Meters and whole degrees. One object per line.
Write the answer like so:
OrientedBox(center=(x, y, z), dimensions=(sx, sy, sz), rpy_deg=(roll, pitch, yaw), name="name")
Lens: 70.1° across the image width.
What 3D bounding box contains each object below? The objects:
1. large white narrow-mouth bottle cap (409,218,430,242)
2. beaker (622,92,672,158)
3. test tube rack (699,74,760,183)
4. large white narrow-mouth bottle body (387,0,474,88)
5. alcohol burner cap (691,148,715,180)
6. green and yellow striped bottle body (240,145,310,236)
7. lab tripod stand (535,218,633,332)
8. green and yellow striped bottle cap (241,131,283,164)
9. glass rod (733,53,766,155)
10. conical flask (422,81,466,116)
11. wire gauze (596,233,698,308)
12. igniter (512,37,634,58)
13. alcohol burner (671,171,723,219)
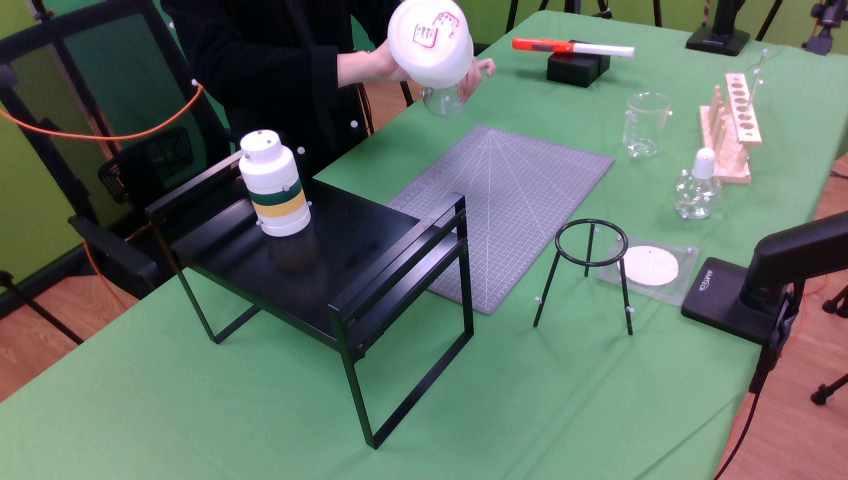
OrientedBox(center=(-0.008, -0.017, 0.999), dimensions=(0.038, 0.024, 0.037), rpy_deg=(-3, 39, 3), name="large white narrow-mouth bottle cap")
OrientedBox(center=(0.402, -0.210, 1.106), dimensions=(0.074, 0.101, 0.083), rpy_deg=(-8, 40, -2), name="beaker")
OrientedBox(center=(0.547, -0.208, 1.095), dimensions=(0.066, 0.085, 0.242), rpy_deg=(6, 42, 16), name="test tube rack")
OrientedBox(center=(0.018, -0.265, 0.840), dimensions=(0.101, 0.101, 0.195), rpy_deg=(2, 4, 10), name="large white narrow-mouth bottle body")
OrientedBox(center=(0.432, -0.120, 0.930), dimensions=(0.034, 0.048, 0.033), rpy_deg=(-7, 48, 8), name="alcohol burner cap")
OrientedBox(center=(-0.181, -0.069, 0.729), dimensions=(0.063, 0.120, 0.063), rpy_deg=(-4, 40, 4), name="green and yellow striped bottle body")
OrientedBox(center=(0.215, 0.050, 0.803), dimensions=(0.148, 0.132, 0.147), rpy_deg=(-4, 42, 4), name="lab tripod stand")
OrientedBox(center=(-0.187, -0.107, 0.695), dimensions=(0.045, 0.020, 0.045), rpy_deg=(-4, 39, 3), name="green and yellow striped bottle cap")
OrientedBox(center=(0.540, -0.220, 1.007), dimensions=(0.008, 0.201, 0.008), rpy_deg=(-5, 45, 6), name="glass rod")
OrientedBox(center=(0.034, -0.260, 0.995), dimensions=(0.075, 0.122, 0.075), rpy_deg=(0, 79, 1), name="conical flask")
OrientedBox(center=(0.331, 0.038, 0.897), dimensions=(0.124, 0.011, 0.121), rpy_deg=(18, 47, 26), name="wire gauze")
OrientedBox(center=(0.328, -0.433, 1.360), dimensions=(0.275, 0.025, 0.057), rpy_deg=(12, 33, 20), name="igniter")
OrientedBox(center=(0.434, -0.093, 0.955), dimensions=(0.078, 0.119, 0.077), rpy_deg=(-3, 42, 4), name="alcohol burner")
